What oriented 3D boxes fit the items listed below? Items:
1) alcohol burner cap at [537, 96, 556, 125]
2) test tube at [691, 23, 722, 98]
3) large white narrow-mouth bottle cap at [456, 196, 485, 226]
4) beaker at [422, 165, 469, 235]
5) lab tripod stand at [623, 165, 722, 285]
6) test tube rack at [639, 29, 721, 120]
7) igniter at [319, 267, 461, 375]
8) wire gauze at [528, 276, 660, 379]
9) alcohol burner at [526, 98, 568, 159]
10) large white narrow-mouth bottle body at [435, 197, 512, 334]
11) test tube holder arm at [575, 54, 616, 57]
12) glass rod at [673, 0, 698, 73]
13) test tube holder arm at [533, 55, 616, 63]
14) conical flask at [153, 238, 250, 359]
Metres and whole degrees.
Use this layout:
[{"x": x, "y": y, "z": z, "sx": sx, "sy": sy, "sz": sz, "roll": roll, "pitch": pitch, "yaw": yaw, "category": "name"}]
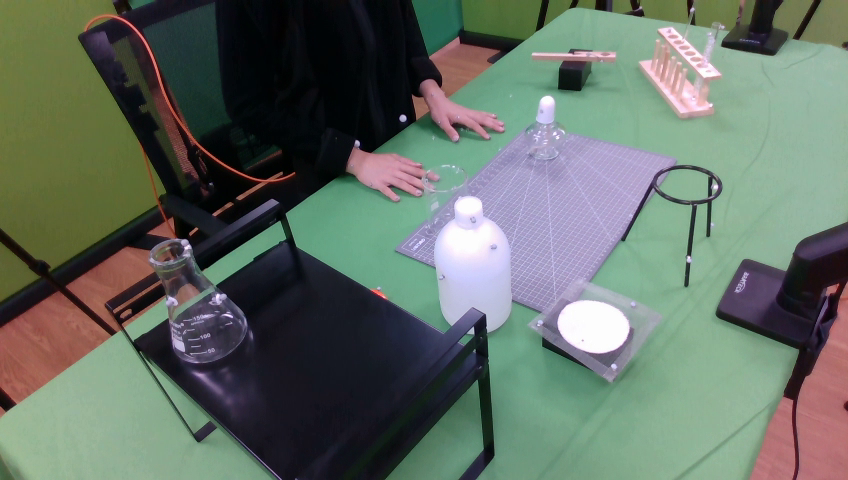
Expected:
[{"x": 0.223, "y": -0.237, "z": 1.095, "sx": 0.034, "sy": 0.048, "sz": 0.033, "roll": 0, "pitch": 42, "yaw": 1, "category": "alcohol burner cap"}, {"x": 0.547, "y": -0.345, "z": 1.173, "sx": 0.017, "sy": 0.151, "sz": 0.017, "roll": 0, "pitch": 42, "yaw": 0, "category": "test tube"}, {"x": 0.058, "y": -0.036, "z": 0.749, "sx": 0.038, "sy": 0.024, "sz": 0.037, "roll": -4, "pitch": 40, "yaw": 4, "category": "large white narrow-mouth bottle cap"}, {"x": 0.041, "y": -0.063, "z": 0.986, "sx": 0.073, "sy": 0.101, "sz": 0.084, "roll": 20, "pitch": 47, "yaw": 29, "category": "beaker"}, {"x": 0.365, "y": -0.030, "z": 0.875, "sx": 0.148, "sy": 0.132, "sz": 0.147, "roll": -6, "pitch": 41, "yaw": 6, "category": "lab tripod stand"}, {"x": 0.527, "y": -0.351, "z": 1.262, "sx": 0.067, "sy": 0.085, "sz": 0.241, "roll": -8, "pitch": 40, "yaw": 1, "category": "test tube rack"}, {"x": -0.060, "y": 0.108, "z": 0.862, "sx": 0.274, "sy": 0.025, "sz": 0.057, "roll": 29, "pitch": 62, "yaw": 35, "category": "igniter"}, {"x": 0.213, "y": 0.103, "z": 0.763, "sx": 0.124, "sy": 0.011, "sz": 0.122, "roll": 30, "pitch": 52, "yaw": 35, "category": "wire gauze"}, {"x": 0.228, "y": -0.210, "z": 1.118, "sx": 0.078, "sy": 0.119, "sz": 0.077, "roll": -5, "pitch": 43, "yaw": 5, "category": "alcohol burner"}, {"x": 0.066, "y": 0.028, "z": 0.805, "sx": 0.102, "sy": 0.195, "sz": 0.101, "roll": -4, "pitch": 40, "yaw": 4, "category": "large white narrow-mouth bottle body"}, {"x": 0.373, "y": -0.398, "z": 1.318, "sx": 0.087, "sy": 0.015, "sz": 0.010, "roll": 5, "pitch": 51, "yaw": 16, "category": "test tube holder arm"}, {"x": 0.537, "y": -0.425, "z": 1.244, "sx": 0.008, "sy": 0.200, "sz": 0.008, "roll": 0, "pitch": 47, "yaw": 0, "category": "glass rod"}, {"x": 0.329, "y": -0.398, "z": 1.327, "sx": 0.178, "sy": 0.015, "sz": 0.013, "roll": 5, "pitch": 51, "yaw": 15, "category": "test tube holder arm"}, {"x": -0.225, "y": 0.055, "z": 0.597, "sx": 0.075, "sy": 0.122, "sz": 0.075, "roll": -5, "pitch": 41, "yaw": 4, "category": "conical flask"}]
